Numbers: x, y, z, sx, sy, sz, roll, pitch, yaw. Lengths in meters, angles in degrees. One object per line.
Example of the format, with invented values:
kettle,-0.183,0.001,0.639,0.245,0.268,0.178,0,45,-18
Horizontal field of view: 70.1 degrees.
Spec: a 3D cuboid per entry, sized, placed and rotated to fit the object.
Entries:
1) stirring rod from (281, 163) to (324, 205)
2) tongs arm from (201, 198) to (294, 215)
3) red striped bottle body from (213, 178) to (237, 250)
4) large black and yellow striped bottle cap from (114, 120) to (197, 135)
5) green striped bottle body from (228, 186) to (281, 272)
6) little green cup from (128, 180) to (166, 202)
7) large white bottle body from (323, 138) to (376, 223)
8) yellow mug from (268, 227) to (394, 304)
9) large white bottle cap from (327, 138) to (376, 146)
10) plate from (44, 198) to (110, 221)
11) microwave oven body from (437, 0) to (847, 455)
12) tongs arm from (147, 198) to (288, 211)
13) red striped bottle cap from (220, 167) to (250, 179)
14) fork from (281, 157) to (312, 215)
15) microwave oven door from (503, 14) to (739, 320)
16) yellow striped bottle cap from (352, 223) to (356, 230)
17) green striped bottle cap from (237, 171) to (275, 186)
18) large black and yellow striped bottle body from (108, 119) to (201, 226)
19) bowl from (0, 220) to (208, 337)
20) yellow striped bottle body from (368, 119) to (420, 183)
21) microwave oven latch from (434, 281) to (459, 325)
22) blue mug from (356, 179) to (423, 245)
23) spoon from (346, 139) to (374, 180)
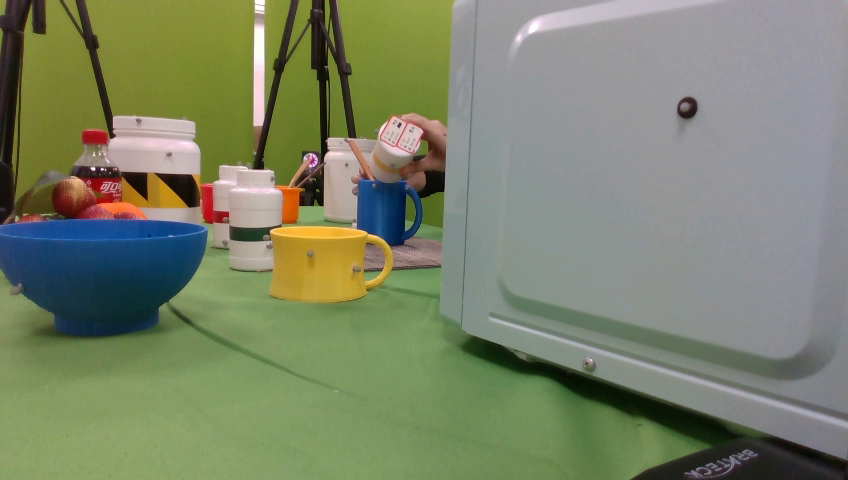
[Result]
stirring rod,-0.278,-0.105,1.293,0.176,0.006,0.014,-47,25,-18
tongs arm,-0.423,-0.084,1.472,0.050,0.026,0.386,2,6,22
red striped bottle body,-0.284,-0.048,0.909,0.063,0.119,0.063,3,10,0
large black and yellow striped bottle cap,-0.407,-0.171,0.920,0.115,0.019,0.115,2,9,0
green striped bottle body,-0.208,-0.023,0.745,0.063,0.119,0.063,2,7,0
little green cup,-0.485,-0.087,1.062,0.061,0.038,0.061,-1,6,0
large white bottle body,-0.163,-0.135,1.368,0.131,0.184,0.130,2,7,0
yellow mug,-0.094,0.023,0.630,0.131,0.064,0.099,0,8,-22
large white bottle cap,-0.160,-0.218,1.357,0.115,0.018,0.115,2,8,0
plate,-0.617,-0.056,1.179,0.209,0.038,0.209,3,7,0
microwave oven body,0.279,-0.040,0.464,0.444,0.260,0.324,-3,9,-41
tongs arm,-0.503,-0.091,1.513,0.028,0.028,0.389,-1,4,38
red striped bottle cap,-0.281,-0.100,0.901,0.044,0.017,0.044,-1,5,0
fork,-0.289,-0.116,1.321,0.028,0.019,0.207,6,51,19
microwave oven door,0.217,-0.065,0.601,0.358,0.243,0.039,-4,10,-41
yellow striped bottle cap,-0.115,-0.022,1.144,0.044,0.018,0.044,3,8,0
green striped bottle cap,-0.205,-0.074,0.738,0.044,0.020,0.044,1,8,0
large black and yellow striped bottle body,-0.412,-0.088,0.930,0.131,0.184,0.130,3,7,0
bowl,-0.251,0.029,0.479,0.151,0.077,0.151,2,7,0
yellow striped bottle body,-0.050,-0.130,0.931,0.063,0.062,0.120,0,-19,-15
microwave oven latch,0.044,0.045,0.470,0.079,0.029,0.030,-2,8,-39
blue mug,-0.057,-0.047,1.007,0.116,0.106,0.082,5,8,20
spoon,-0.089,-0.095,1.026,0.042,0.193,0.021,-8,-22,-43
